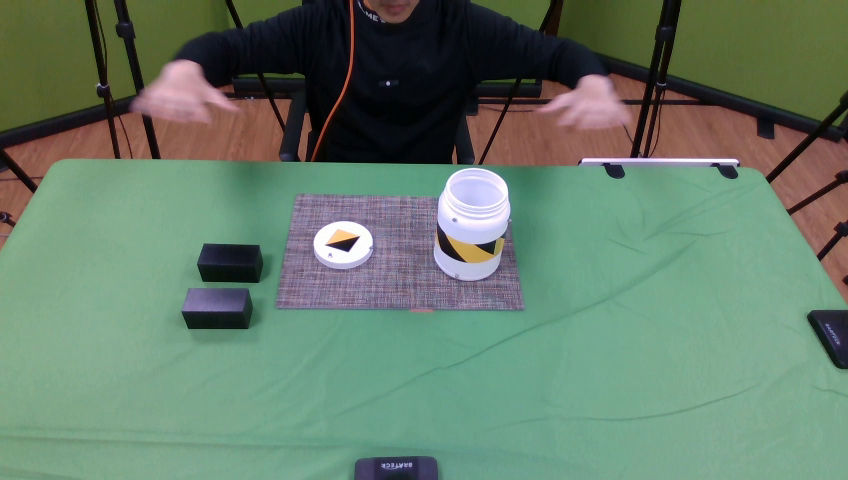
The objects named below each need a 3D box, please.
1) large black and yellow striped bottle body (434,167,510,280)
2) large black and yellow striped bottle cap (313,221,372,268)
[{"bbox_3d":[0.087,-0.031,1.114,0.131,0.185,0.130,2,46,-2],"label":"large black and yellow striped bottle body"},{"bbox_3d":[-0.158,0.007,1.176,0.115,0.019,0.114,2,45,-2],"label":"large black and yellow striped bottle cap"}]
